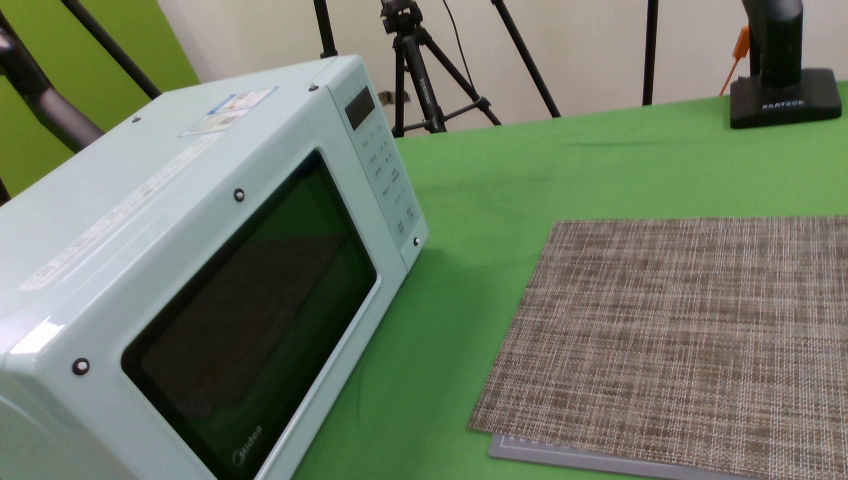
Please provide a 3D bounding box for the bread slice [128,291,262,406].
[{"bbox_3d":[-0.235,0.105,0.633,0.104,0.019,0.131,6,46,35],"label":"bread slice"}]

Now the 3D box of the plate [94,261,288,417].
[{"bbox_3d":[-0.233,0.101,0.628,0.209,0.038,0.207,-16,33,11],"label":"plate"}]

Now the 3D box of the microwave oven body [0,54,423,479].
[{"bbox_3d":[-0.243,0.038,0.628,0.324,0.263,0.439,-1,38,28],"label":"microwave oven body"}]

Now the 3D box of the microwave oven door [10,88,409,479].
[{"bbox_3d":[-0.130,0.055,0.528,0.039,0.246,0.354,-2,37,28],"label":"microwave oven door"}]

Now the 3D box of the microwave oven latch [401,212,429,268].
[{"bbox_3d":[-0.019,0.000,0.736,0.030,0.030,0.078,-1,38,28],"label":"microwave oven latch"}]
